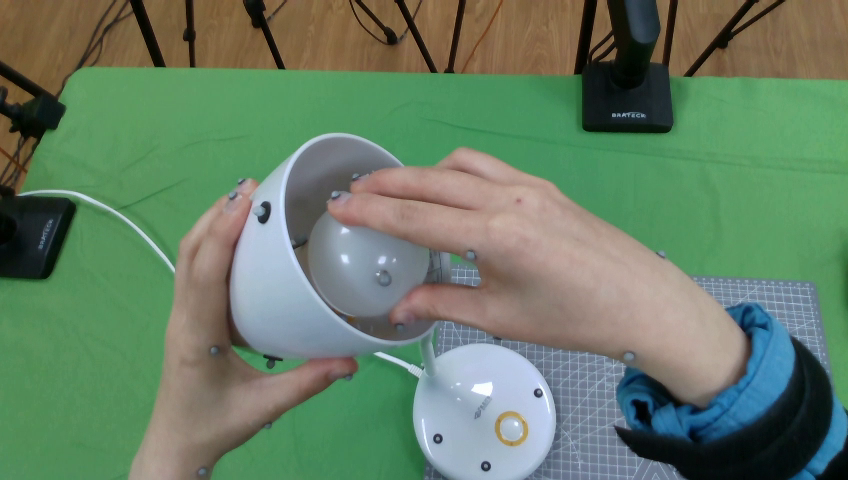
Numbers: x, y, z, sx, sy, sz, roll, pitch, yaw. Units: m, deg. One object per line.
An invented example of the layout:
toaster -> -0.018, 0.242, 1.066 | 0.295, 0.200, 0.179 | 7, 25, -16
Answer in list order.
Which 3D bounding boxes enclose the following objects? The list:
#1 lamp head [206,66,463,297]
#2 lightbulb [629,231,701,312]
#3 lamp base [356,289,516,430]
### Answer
lamp head -> -0.040, -0.023, 0.305 | 0.122, 0.113, 0.111 | -5, 70, 12
lightbulb -> 0.264, 0.032, 0.680 | 0.059, 0.060, 0.106 | -22, 55, -3
lamp base -> 0.002, 0.102, 0.607 | 0.179, 0.181, 0.159 | 7, 71, 11
